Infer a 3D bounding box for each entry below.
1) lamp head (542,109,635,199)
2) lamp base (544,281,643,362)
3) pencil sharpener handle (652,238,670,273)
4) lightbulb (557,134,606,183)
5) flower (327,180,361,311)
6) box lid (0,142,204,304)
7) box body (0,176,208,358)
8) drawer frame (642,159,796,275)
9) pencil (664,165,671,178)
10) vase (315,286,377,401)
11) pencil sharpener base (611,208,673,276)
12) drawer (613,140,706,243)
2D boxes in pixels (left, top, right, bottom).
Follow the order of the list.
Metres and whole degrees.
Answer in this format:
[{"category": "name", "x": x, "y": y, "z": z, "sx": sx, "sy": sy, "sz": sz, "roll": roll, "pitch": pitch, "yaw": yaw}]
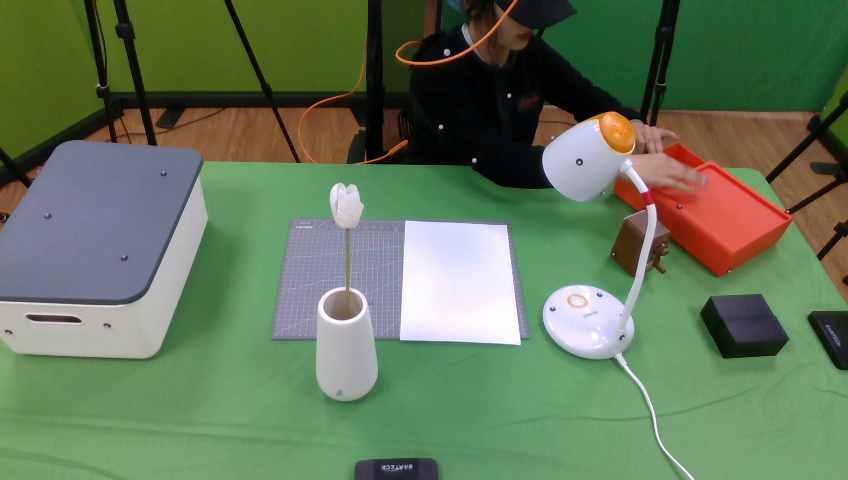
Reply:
[{"category": "lamp head", "x": 0.253, "y": -0.131, "z": 0.893, "sx": 0.113, "sy": 0.123, "sz": 0.112, "roll": 10, "pitch": 66, "yaw": -24}, {"category": "lamp base", "x": 0.303, "y": 0.095, "z": 1.014, "sx": 0.161, "sy": 0.181, "sz": 0.178, "roll": -24, "pitch": 54, "yaw": -24}, {"category": "pencil sharpener handle", "x": 0.443, "y": 0.030, "z": 1.120, "sx": 0.036, "sy": 0.068, "sz": 0.030, "roll": -24, "pitch": 52, "yaw": -17}, {"category": "lightbulb", "x": 0.242, "y": -0.127, "z": 0.916, "sx": 0.059, "sy": 0.108, "sz": 0.059, "roll": 5, "pitch": 67, "yaw": -12}, {"category": "flower", "x": -0.110, "y": 0.086, "z": 0.867, "sx": 0.044, "sy": 0.363, "sz": 0.038, "roll": 22, "pitch": 33, "yaw": 35}, {"category": "box lid", "x": -0.534, "y": -0.044, "z": 0.995, "sx": 0.263, "sy": 0.015, "sz": 0.369, "roll": 3, "pitch": 45, "yaw": -3}, {"category": "box body", "x": -0.546, "y": 0.017, "z": 1.045, "sx": 0.254, "sy": 0.161, "sz": 0.361, "roll": 2, "pitch": 46, "yaw": -2}, {"category": "drawer frame", "x": 0.600, "y": -0.054, "z": 1.247, "sx": 0.202, "sy": 0.083, "sz": 0.212, "roll": -23, "pitch": 52, "yaw": -25}, {"category": "pencil", "x": 0.536, "y": -0.122, "z": 1.314, "sx": 0.012, "sy": 0.012, "sz": 0.193, "roll": 12, "pitch": 31, "yaw": 8}, {"category": "vase", "x": -0.119, "y": 0.159, "z": 0.911, "sx": 0.098, "sy": 0.201, "sz": 0.097, "roll": 2, "pitch": 47, "yaw": -2}, {"category": "pencil sharpener base", "x": 0.416, "y": 0.007, "z": 1.158, "sx": 0.061, "sy": 0.107, "sz": 0.076, "roll": -20, "pitch": 51, "yaw": -22}, {"category": "drawer", "x": 0.551, "y": -0.104, "z": 1.296, "sx": 0.194, "sy": 0.073, "sz": 0.210, "roll": -24, "pitch": 53, "yaw": -25}]
